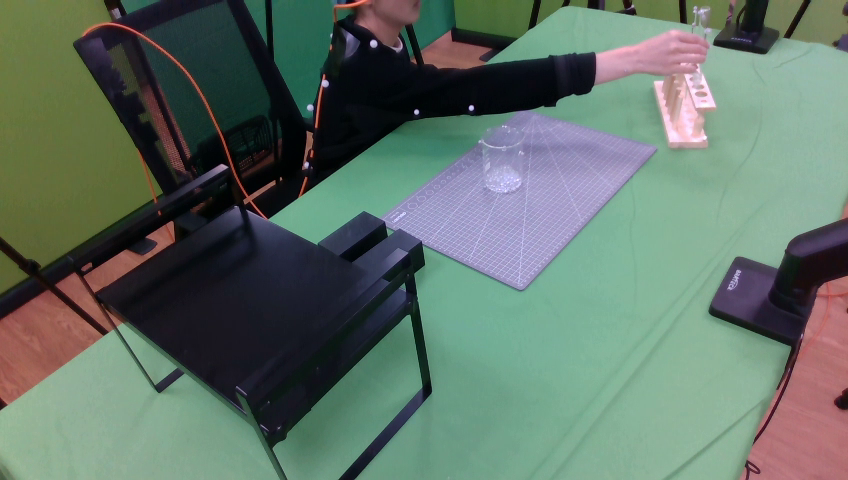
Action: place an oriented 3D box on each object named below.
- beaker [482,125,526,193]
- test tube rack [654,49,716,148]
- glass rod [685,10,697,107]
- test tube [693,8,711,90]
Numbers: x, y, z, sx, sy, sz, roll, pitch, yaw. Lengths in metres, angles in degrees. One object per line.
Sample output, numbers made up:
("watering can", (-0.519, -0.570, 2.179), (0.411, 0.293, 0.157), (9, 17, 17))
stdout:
("beaker", (0.141, -0.141, 1.055), (0.073, 0.101, 0.084), (11, 43, 20))
("test tube rack", (0.502, -0.281, 1.176), (0.066, 0.085, 0.241), (2, 41, 11))
("glass rod", (0.503, -0.337, 1.140), (0.008, 0.201, 0.008), (-9, 43, 9))
("test tube", (0.492, -0.335, 1.071), (0.017, 0.151, 0.017), (-8, 40, 7))
